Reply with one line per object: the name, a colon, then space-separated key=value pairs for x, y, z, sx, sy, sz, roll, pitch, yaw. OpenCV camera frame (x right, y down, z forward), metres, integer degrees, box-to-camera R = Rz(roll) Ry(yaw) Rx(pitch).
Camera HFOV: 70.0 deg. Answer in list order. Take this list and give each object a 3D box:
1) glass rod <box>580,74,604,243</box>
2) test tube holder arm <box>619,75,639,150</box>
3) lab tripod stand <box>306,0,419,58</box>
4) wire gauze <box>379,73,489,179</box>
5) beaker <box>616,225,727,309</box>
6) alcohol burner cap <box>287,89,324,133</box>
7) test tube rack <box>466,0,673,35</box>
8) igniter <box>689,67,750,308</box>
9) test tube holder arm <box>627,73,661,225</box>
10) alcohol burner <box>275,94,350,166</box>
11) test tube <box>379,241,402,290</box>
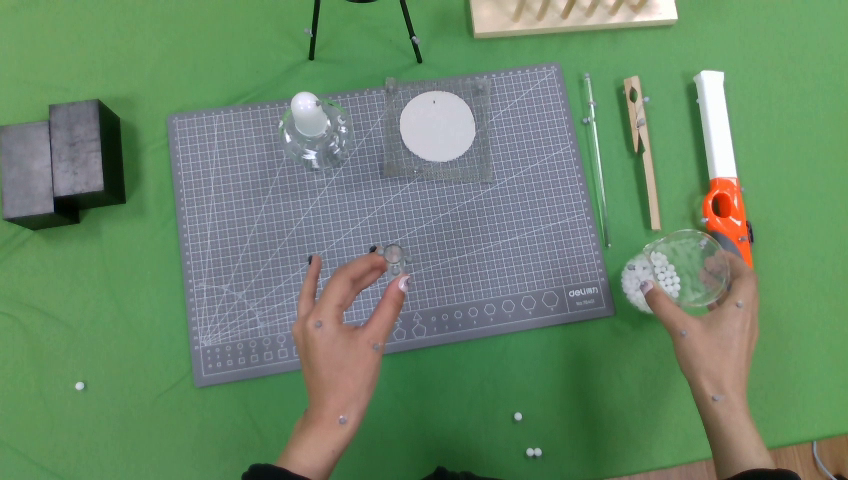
glass rod: x=0.192 y=-0.094 z=0.689 sx=0.008 sy=0.008 sz=0.199 roll=-4 pitch=82 yaw=-4
test tube holder arm: x=0.238 y=-0.147 z=0.698 sx=0.010 sy=0.015 sz=0.087 roll=-13 pitch=79 yaw=31
lab tripod stand: x=-0.069 y=-0.258 z=0.642 sx=0.148 sy=0.132 sz=0.148 roll=0 pitch=81 yaw=-3
wire gauze: x=0.012 y=-0.131 z=0.684 sx=0.125 sy=0.011 sz=0.121 roll=2 pitch=81 yaw=-3
beaker: x=0.242 y=0.031 z=0.615 sx=0.084 sy=0.100 sz=0.074 roll=23 pitch=78 yaw=3
alcohol burner cap: x=-0.116 y=-0.128 z=0.586 sx=0.034 sy=0.048 sz=0.033 roll=1 pitch=73 yaw=-2
test tube rack: x=0.173 y=-0.292 z=0.685 sx=0.242 sy=0.085 sz=0.066 roll=-5 pitch=80 yaw=-4
igniter: x=0.331 y=-0.062 z=0.681 sx=0.057 sy=0.025 sz=0.275 roll=0 pitch=80 yaw=-14
test tube holder arm: x=0.248 y=-0.104 z=0.687 sx=0.013 sy=0.015 sz=0.177 roll=-14 pitch=79 yaw=30
alcohol burner: x=-0.117 y=-0.120 z=0.621 sx=0.078 sy=0.119 sz=0.077 roll=0 pitch=80 yaw=-1
test tube: x=-0.027 y=0.025 z=0.512 sx=0.017 sy=0.151 sz=0.017 roll=0 pitch=77 yaw=-1
